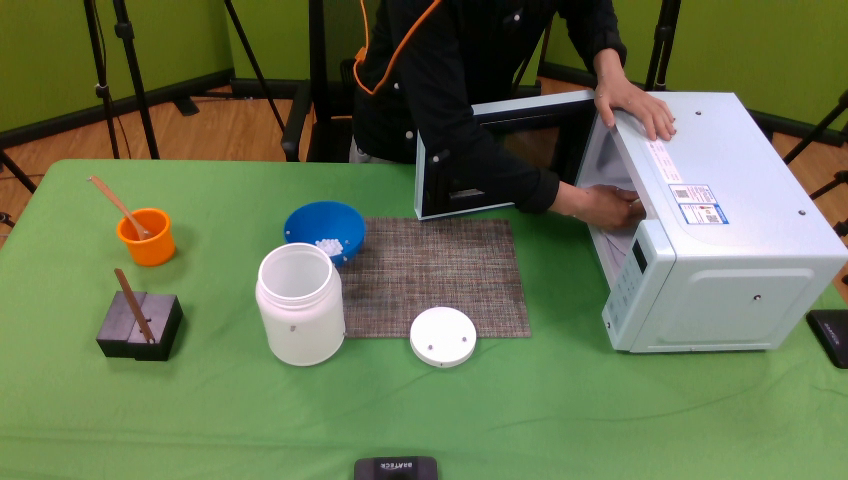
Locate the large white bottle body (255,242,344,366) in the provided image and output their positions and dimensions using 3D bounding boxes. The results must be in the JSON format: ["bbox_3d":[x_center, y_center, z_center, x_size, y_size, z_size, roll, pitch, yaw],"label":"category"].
[{"bbox_3d":[-0.196,0.102,0.967,0.131,0.185,0.130,2,49,-2],"label":"large white bottle body"}]

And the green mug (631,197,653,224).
[{"bbox_3d":[0.456,-0.059,1.156,0.125,0.105,0.092,-11,46,-10],"label":"green mug"}]

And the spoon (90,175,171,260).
[{"bbox_3d":[-0.538,-0.042,1.111,0.041,0.194,0.021,-45,19,-32],"label":"spoon"}]

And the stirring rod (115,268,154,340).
[{"bbox_3d":[-0.479,0.103,0.999,0.014,0.006,0.175,8,32,-49],"label":"stirring rod"}]

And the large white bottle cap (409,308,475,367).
[{"bbox_3d":[0.031,0.166,1.041,0.115,0.018,0.114,2,47,-2],"label":"large white bottle cap"}]

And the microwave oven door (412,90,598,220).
[{"bbox_3d":[0.155,-0.166,1.200,0.356,0.245,0.039,-10,47,-14],"label":"microwave oven door"}]

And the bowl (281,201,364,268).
[{"bbox_3d":[-0.187,0.005,1.137,0.151,0.077,0.150,3,46,-3],"label":"bowl"}]

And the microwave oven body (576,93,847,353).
[{"bbox_3d":[0.475,-0.042,1.109,0.326,0.261,0.438,-1,45,-4],"label":"microwave oven body"}]

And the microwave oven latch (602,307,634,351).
[{"bbox_3d":[0.332,0.153,1.044,0.030,0.029,0.078,0,45,-4],"label":"microwave oven latch"}]
